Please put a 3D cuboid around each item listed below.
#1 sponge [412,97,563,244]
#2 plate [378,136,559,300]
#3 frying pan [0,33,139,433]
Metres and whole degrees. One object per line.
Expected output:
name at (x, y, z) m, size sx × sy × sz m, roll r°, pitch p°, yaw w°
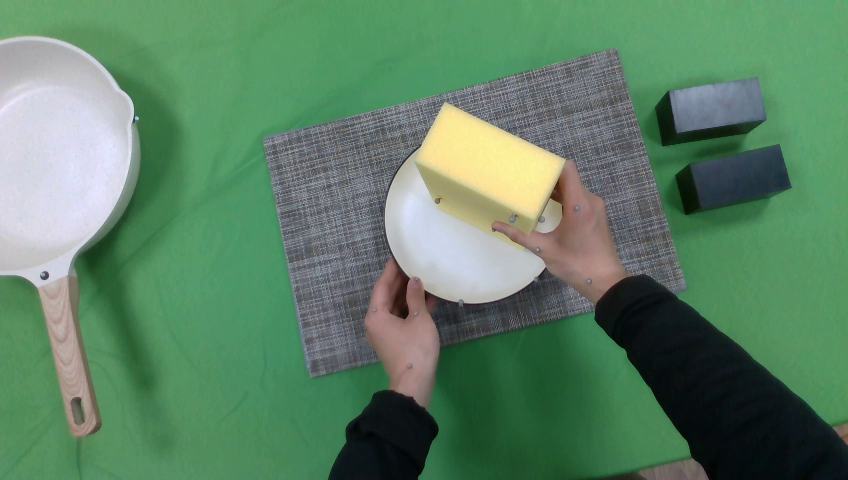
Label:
sponge at (0.065, -0.060, 0.616) m, size 0.118 × 0.207 × 0.061 m, roll 26°, pitch 86°, yaw 10°
plate at (0.051, -0.032, 0.708) m, size 0.207 × 0.039 × 0.207 m, roll 0°, pitch 84°, yaw 4°
frying pan at (-0.449, -0.009, 0.716) m, size 0.307 × 0.103 × 0.484 m, roll -22°, pitch 74°, yaw 3°
